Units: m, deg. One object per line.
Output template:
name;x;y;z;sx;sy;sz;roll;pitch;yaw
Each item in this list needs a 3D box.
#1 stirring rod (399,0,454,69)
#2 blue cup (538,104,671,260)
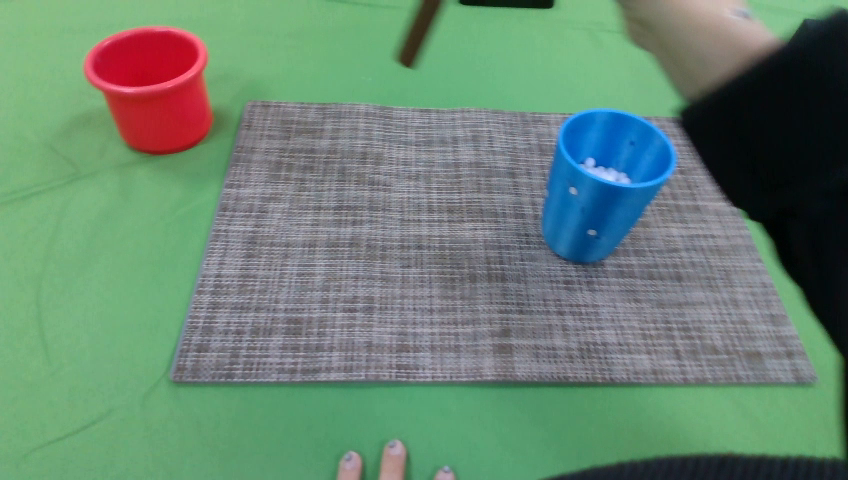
stirring rod;0.027;-0.158;0.301;0.014;0.177;0.006;33;42;-2
blue cup;0.129;-0.038;0.468;0.093;0.101;0.091;3;50;-4
